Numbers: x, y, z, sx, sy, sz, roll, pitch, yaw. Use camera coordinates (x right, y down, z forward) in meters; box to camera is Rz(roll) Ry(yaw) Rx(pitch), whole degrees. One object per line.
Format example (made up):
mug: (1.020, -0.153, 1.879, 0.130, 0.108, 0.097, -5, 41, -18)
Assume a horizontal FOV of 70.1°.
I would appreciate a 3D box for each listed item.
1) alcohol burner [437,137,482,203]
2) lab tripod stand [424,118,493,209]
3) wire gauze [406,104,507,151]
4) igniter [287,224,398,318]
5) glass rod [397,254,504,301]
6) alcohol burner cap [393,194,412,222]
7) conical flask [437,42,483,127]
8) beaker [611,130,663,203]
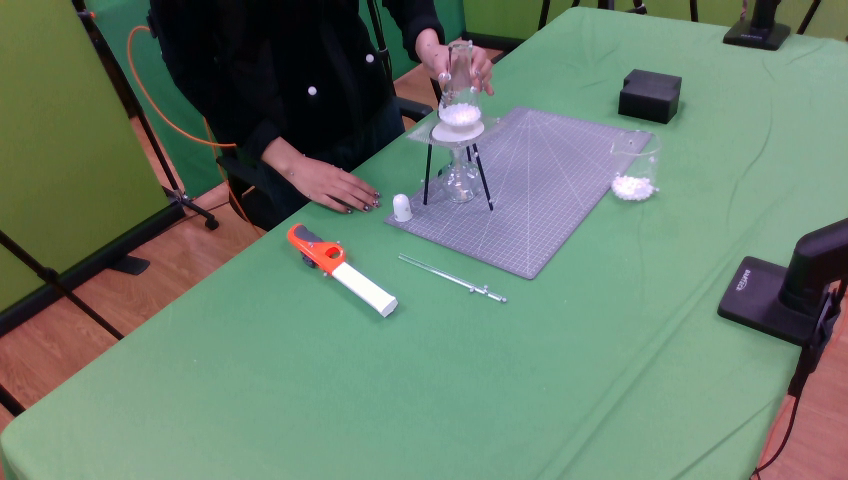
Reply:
alcohol burner: (0.060, -0.125, 1.045, 0.078, 0.119, 0.077, -5, 39, 4)
lab tripod stand: (0.061, -0.133, 1.038, 0.148, 0.132, 0.147, -6, 38, 6)
wire gauze: (0.053, -0.184, 0.996, 0.120, 0.011, 0.125, 26, 50, 37)
igniter: (-0.139, 0.042, 0.958, 0.057, 0.025, 0.274, -42, 49, -19)
glass rod: (0.036, 0.054, 0.922, 0.198, 0.008, 0.008, 21, 50, 31)
alcohol burner cap: (-0.039, -0.057, 1.038, 0.034, 0.048, 0.033, -6, 40, 5)
conical flask: (0.056, -0.246, 0.951, 0.075, 0.122, 0.075, -1, 37, 2)
beaker: (0.346, -0.118, 0.998, 0.084, 0.101, 0.073, -17, 40, -7)
